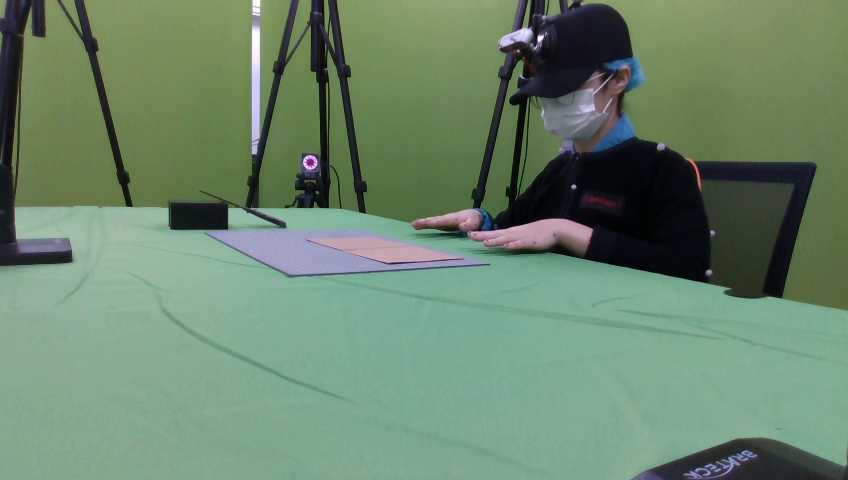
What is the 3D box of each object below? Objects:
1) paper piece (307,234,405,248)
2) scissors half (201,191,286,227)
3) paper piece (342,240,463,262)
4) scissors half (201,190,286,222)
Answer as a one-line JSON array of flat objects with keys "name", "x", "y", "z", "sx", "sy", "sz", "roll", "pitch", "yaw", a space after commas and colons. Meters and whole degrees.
[{"name": "paper piece", "x": -0.110, "y": 0.000, "z": 1.015, "sx": 0.136, "sy": 0.004, "sz": 0.135, "roll": -4, "pitch": 9, "yaw": -35}, {"name": "scissors half", "x": -0.358, "y": -0.064, "z": 1.206, "sx": 0.175, "sy": 0.013, "sz": 0.040, "roll": 22, "pitch": 1, "yaw": -10}, {"name": "paper piece", "x": -0.033, "y": 0.017, "z": 0.908, "sx": 0.137, "sy": 0.008, "sz": 0.137, "roll": -7, "pitch": 12, "yaw": -34}, {"name": "scissors half", "x": -0.364, "y": -0.068, "z": 1.225, "sx": 0.176, "sy": 0.013, "sz": 0.040, "roll": 22, "pitch": 7, "yaw": -27}]
